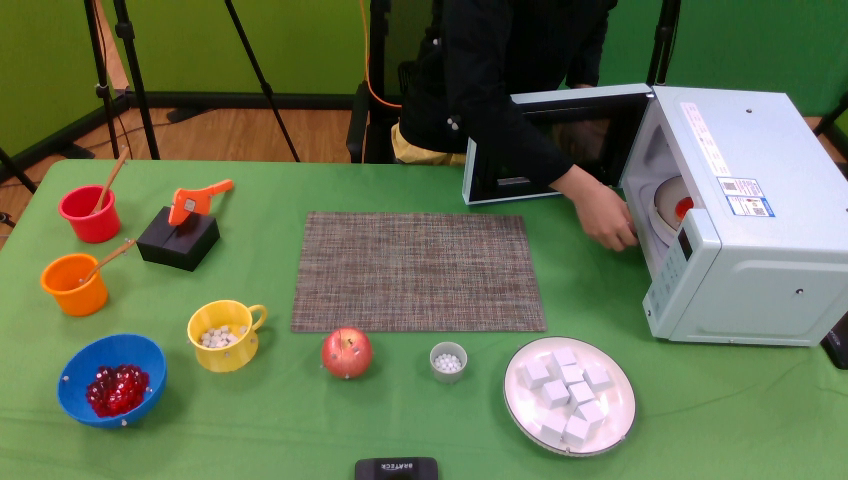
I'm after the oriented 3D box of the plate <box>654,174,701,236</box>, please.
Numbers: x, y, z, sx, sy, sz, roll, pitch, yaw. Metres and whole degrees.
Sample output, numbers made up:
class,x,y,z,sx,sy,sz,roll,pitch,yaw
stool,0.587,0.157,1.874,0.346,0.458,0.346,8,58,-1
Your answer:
class,x,y,z,sx,sy,sz,roll,pitch,yaw
plate,0.554,-0.048,1.188,0.209,0.038,0.208,2,47,-2

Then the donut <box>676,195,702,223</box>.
class,x,y,z,sx,sy,sz,roll,pitch,yaw
donut,0.538,-0.049,1.171,0.099,0.048,0.098,2,44,-2

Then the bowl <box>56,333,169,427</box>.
class,x,y,z,sx,sy,sz,roll,pitch,yaw
bowl,-0.456,0.222,0.912,0.151,0.077,0.150,3,46,-2

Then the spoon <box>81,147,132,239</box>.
class,x,y,z,sx,sy,sz,roll,pitch,yaw
spoon,-0.603,-0.089,1.156,0.041,0.022,0.193,28,95,18

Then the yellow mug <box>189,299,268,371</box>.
class,x,y,z,sx,sy,sz,roll,pitch,yaw
yellow mug,-0.316,0.148,1.002,0.131,0.064,0.099,-33,56,-31

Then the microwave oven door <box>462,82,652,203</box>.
class,x,y,z,sx,sy,sz,roll,pitch,yaw
microwave oven door,0.261,-0.194,1.227,0.356,0.245,0.039,-8,47,-11

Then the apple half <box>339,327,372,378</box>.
class,x,y,z,sx,sy,sz,roll,pitch,yaw
apple half,-0.111,0.182,0.980,0.053,0.075,0.080,-2,42,-12

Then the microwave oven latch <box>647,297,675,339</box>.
class,x,y,z,sx,sy,sz,roll,pitch,yaw
microwave oven latch,0.413,0.134,1.060,0.030,0.029,0.078,5,45,2

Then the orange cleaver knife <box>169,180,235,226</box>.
class,x,y,z,sx,sy,sz,roll,pitch,yaw
orange cleaver knife,-0.435,-0.076,1.199,0.012,0.077,0.211,17,17,9

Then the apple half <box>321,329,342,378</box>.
class,x,y,z,sx,sy,sz,roll,pitch,yaw
apple half,-0.149,0.186,0.972,0.033,0.081,0.080,-2,46,-12

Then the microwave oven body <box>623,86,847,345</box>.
class,x,y,z,sx,sy,sz,roll,pitch,yaw
microwave oven body,0.567,-0.053,1.118,0.326,0.261,0.439,2,45,-1

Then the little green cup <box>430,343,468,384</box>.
class,x,y,z,sx,sy,sz,roll,pitch,yaw
little green cup,0.039,0.203,0.993,0.061,0.039,0.061,2,46,-2

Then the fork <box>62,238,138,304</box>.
class,x,y,z,sx,sy,sz,roll,pitch,yaw
fork,-0.547,0.053,1.019,0.207,0.019,0.028,-36,41,23

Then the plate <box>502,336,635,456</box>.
class,x,y,z,sx,sy,sz,roll,pitch,yaw
plate,0.225,0.248,0.963,0.208,0.039,0.206,2,46,-2
